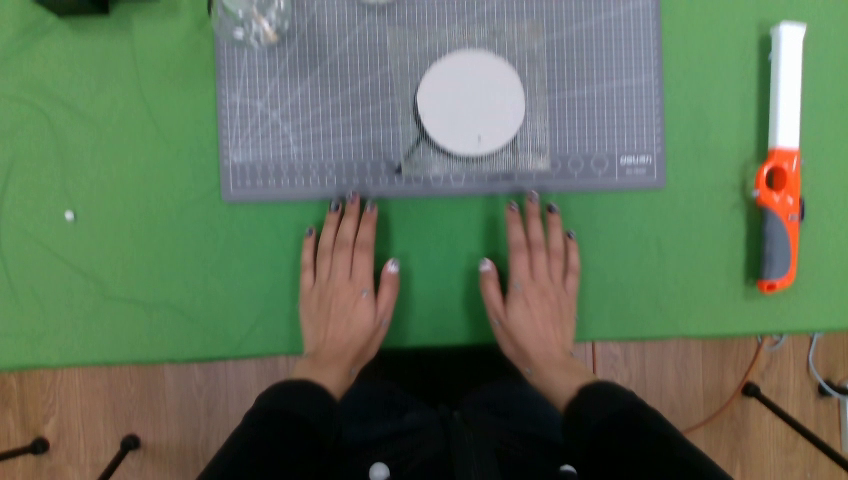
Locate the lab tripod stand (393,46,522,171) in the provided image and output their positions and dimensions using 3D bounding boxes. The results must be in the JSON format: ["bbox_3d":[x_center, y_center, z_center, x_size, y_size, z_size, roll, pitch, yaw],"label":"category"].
[{"bbox_3d":[0.030,-0.115,0.548,0.148,0.131,0.148,0,90,-1],"label":"lab tripod stand"}]

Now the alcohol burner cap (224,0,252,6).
[{"bbox_3d":[-0.161,-0.221,0.510,0.034,0.048,0.034,0,93,-6],"label":"alcohol burner cap"}]

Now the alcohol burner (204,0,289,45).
[{"bbox_3d":[-0.164,-0.222,0.546,0.078,0.119,0.078,0,89,-2],"label":"alcohol burner"}]

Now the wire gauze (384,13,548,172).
[{"bbox_3d":[0.035,-0.117,0.481,0.125,0.011,0.121,-4,90,-3],"label":"wire gauze"}]

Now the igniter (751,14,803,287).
[{"bbox_3d":[0.363,-0.089,0.620,0.057,0.025,0.276,2,91,-12],"label":"igniter"}]
